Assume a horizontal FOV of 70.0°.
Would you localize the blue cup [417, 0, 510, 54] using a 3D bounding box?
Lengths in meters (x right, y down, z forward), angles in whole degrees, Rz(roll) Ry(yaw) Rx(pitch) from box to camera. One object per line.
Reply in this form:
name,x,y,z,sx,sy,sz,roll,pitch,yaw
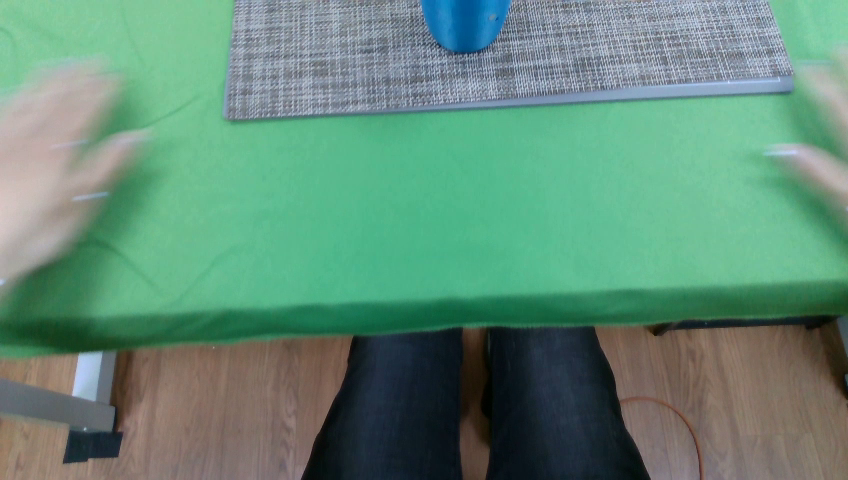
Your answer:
blue cup,0.030,-0.196,0.457,0.092,0.101,0.092,-1,69,3
